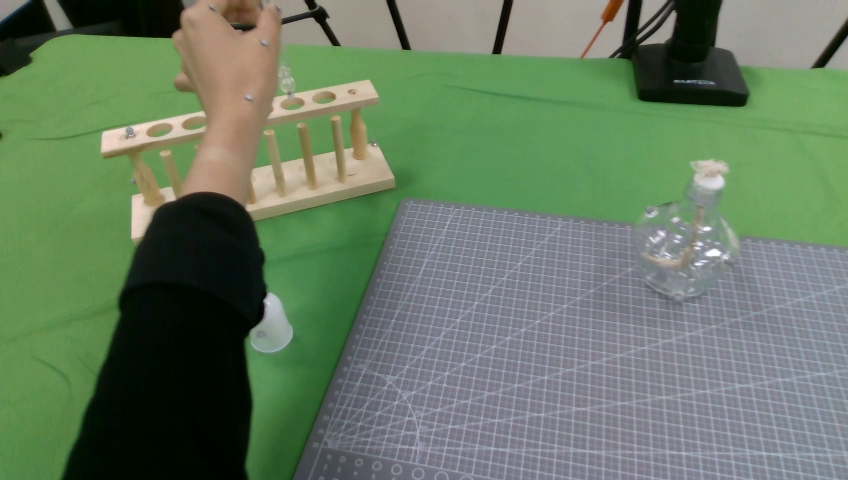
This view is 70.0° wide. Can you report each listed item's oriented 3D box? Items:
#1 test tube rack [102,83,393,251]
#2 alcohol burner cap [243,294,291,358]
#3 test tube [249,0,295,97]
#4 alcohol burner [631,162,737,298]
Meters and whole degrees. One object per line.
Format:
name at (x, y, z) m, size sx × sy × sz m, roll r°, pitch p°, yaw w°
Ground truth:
test tube rack at (-0.156, -0.071, 0.564) m, size 0.243 × 0.086 × 0.066 m, roll -15°, pitch 45°, yaw -13°
alcohol burner cap at (-0.121, 0.062, 0.456) m, size 0.034 × 0.048 × 0.033 m, roll -1°, pitch 43°, yaw 1°
test tube at (-0.126, -0.179, 0.475) m, size 0.017 × 0.152 × 0.017 m, roll -4°, pitch 47°, yaw 4°
alcohol burner at (0.201, -0.012, 0.461) m, size 0.078 × 0.120 × 0.077 m, roll 0°, pitch 45°, yaw 1°
